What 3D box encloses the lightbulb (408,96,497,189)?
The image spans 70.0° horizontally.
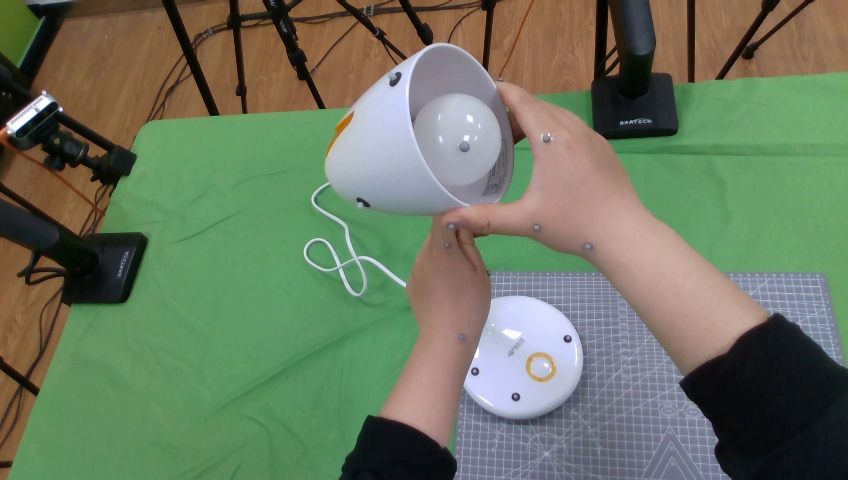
[{"bbox_3d":[0.002,-0.058,0.414,0.107,0.060,0.059,-20,51,44],"label":"lightbulb"}]

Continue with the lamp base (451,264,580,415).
[{"bbox_3d":[0.090,0.100,0.707,0.178,0.182,0.160,24,69,26],"label":"lamp base"}]

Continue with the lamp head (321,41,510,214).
[{"bbox_3d":[-0.013,-0.065,0.435,0.122,0.113,0.111,-17,51,46],"label":"lamp head"}]
